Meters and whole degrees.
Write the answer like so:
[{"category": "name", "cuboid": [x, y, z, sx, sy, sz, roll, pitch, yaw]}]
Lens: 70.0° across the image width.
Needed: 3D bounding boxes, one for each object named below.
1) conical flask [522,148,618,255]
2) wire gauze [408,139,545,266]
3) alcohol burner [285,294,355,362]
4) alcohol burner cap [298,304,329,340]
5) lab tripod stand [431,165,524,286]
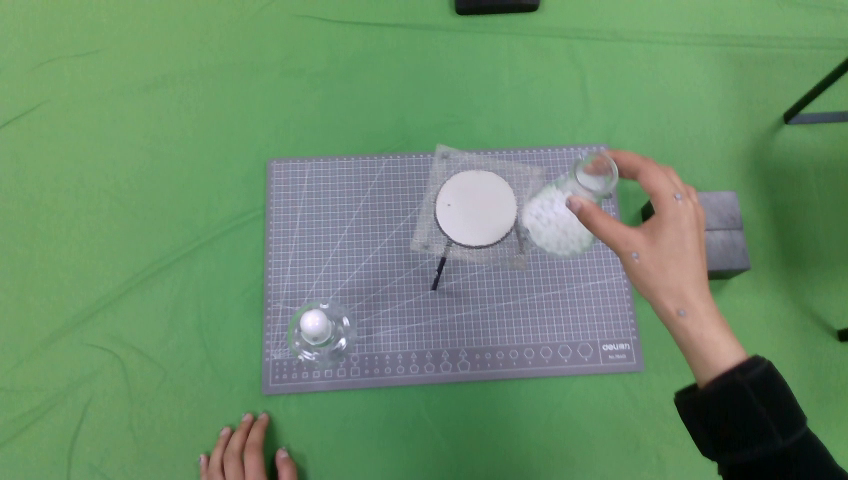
[{"category": "conical flask", "cuboid": [0.133, -0.037, 0.532, 0.075, 0.122, 0.075, 1, 73, -2]}, {"category": "wire gauze", "cuboid": [0.057, -0.040, 0.632, 0.121, 0.011, 0.124, 14, 73, 3]}, {"category": "alcohol burner", "cuboid": [-0.117, 0.094, 0.668, 0.078, 0.119, 0.077, 0, 75, -1]}, {"category": "alcohol burner cap", "cuboid": [-0.117, 0.084, 0.633, 0.034, 0.048, 0.033, 2, 69, -4]}, {"category": "lab tripod stand", "cuboid": [0.049, -0.022, 0.697, 0.148, 0.132, 0.147, 0, 73, 1]}]
